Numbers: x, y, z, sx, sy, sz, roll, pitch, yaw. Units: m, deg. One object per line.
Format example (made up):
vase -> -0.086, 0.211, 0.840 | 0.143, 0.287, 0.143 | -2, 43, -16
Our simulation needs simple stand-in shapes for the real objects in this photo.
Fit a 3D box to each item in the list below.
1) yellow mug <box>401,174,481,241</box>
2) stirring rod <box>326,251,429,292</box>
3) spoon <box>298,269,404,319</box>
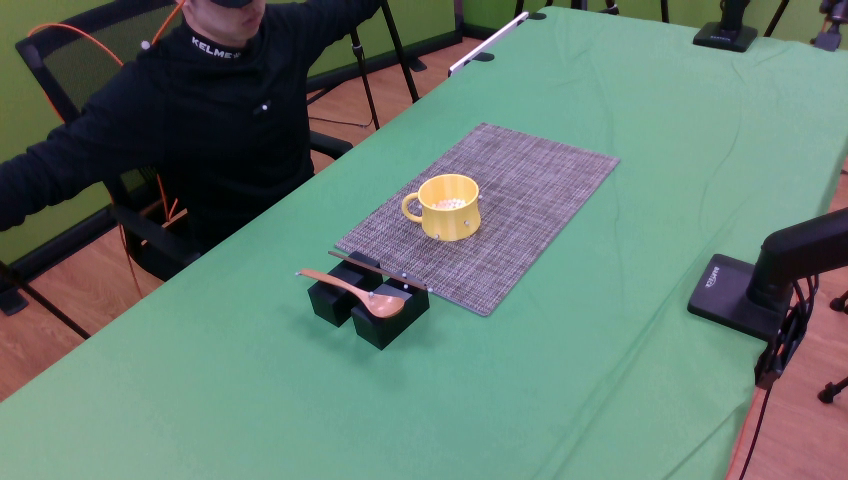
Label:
yellow mug -> 0.026, -0.054, 0.988 | 0.130, 0.064, 0.099 | -1, 40, 8
stirring rod -> -0.068, 0.043, 0.858 | 0.175, 0.006, 0.014 | 18, 9, 27
spoon -> -0.106, 0.068, 0.831 | 0.192, 0.022, 0.042 | 21, 49, 32
